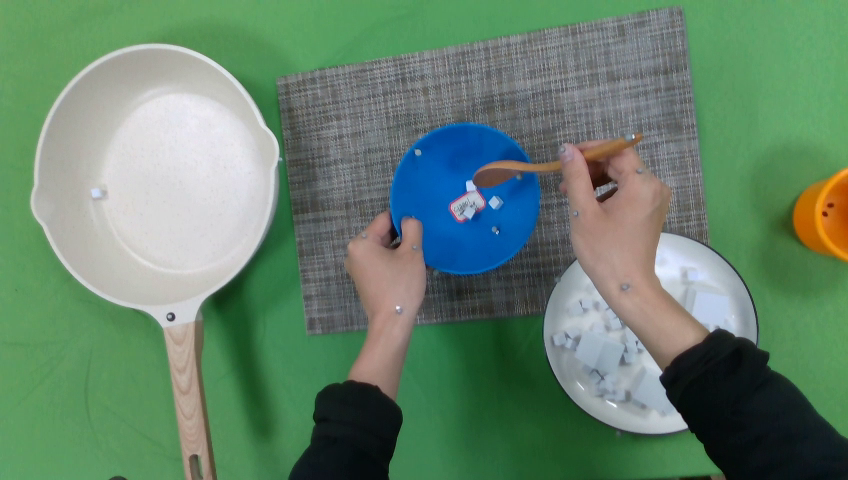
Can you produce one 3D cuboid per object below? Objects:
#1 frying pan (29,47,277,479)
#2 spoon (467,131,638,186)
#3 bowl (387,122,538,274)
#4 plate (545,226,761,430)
[{"bbox_3d":[-0.281,0.034,0.680,0.306,0.103,0.486,-11,81,11],"label":"frying pan"},{"bbox_3d":[0.104,-0.067,0.526,0.042,0.192,0.021,8,84,-34],"label":"spoon"},{"bbox_3d":[0.043,-0.040,0.630,0.151,0.077,0.151,0,89,10],"label":"bowl"},{"bbox_3d":[0.230,0.088,0.625,0.207,0.039,0.207,1,94,10],"label":"plate"}]
